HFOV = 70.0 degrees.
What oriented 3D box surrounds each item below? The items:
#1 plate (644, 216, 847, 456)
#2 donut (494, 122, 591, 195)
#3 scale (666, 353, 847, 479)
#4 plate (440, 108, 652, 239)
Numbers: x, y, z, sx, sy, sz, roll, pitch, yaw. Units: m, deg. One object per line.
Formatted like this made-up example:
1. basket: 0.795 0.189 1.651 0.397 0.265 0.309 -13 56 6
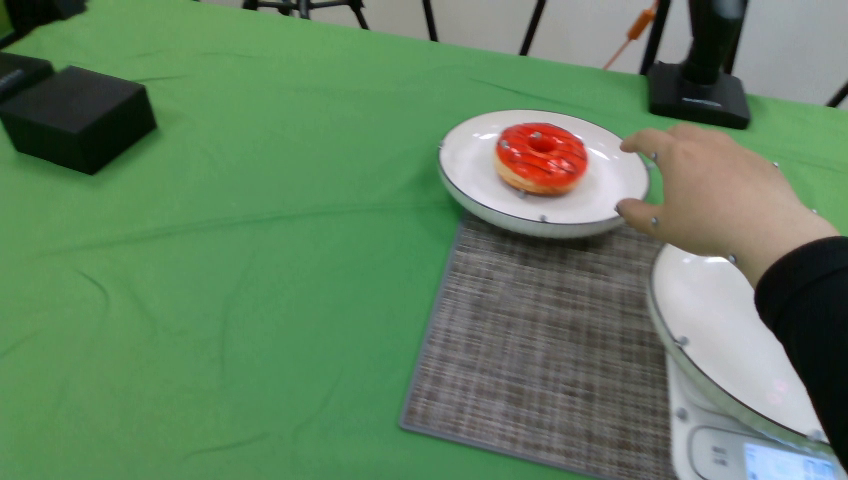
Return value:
1. plate: 0.262 0.064 0.440 0.208 0.039 0.205 3 44 -2
2. donut: 0.120 -0.082 0.613 0.099 0.048 0.098 4 42 -3
3. scale: 0.256 0.103 0.446 0.148 0.032 0.199 11 44 8
4. plate: 0.119 -0.067 0.612 0.209 0.038 0.207 2 41 -2
